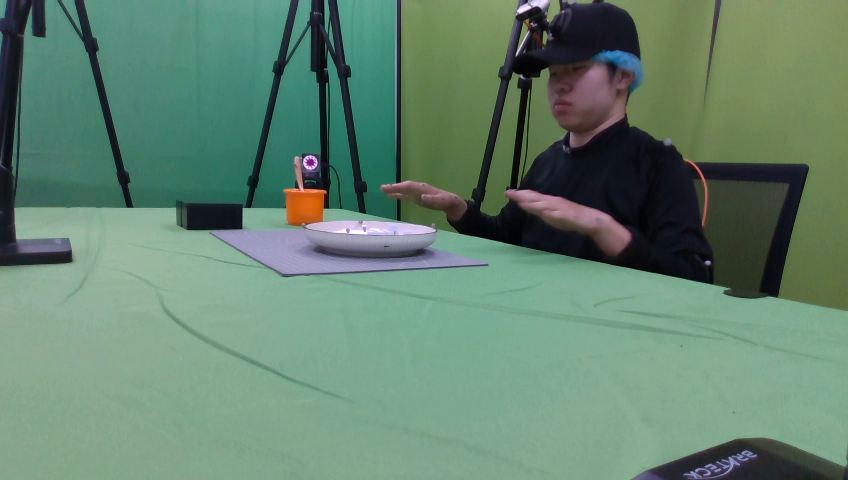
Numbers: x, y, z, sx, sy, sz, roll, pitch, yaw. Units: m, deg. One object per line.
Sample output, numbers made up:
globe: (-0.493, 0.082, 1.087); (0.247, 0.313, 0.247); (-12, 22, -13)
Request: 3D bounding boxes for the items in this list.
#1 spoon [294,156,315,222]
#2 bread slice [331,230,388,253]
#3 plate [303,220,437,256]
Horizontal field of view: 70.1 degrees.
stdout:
spoon: (-0.271, -0.116, 1.328); (0.042, 0.021, 0.193); (-1, 48, -22)
bread slice: (-0.088, 0.000, 0.947); (0.105, 0.019, 0.131); (-4, 11, -44)
plate: (-0.084, -0.003, 0.951); (0.209, 0.038, 0.209); (3, 7, 0)
